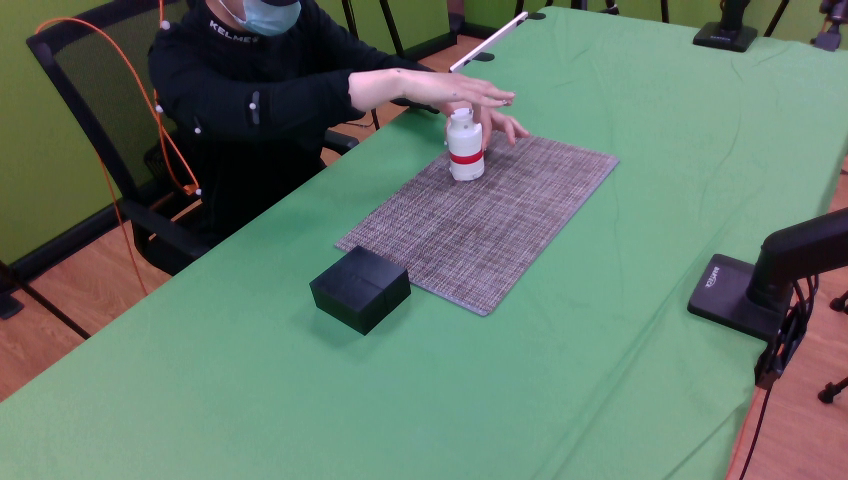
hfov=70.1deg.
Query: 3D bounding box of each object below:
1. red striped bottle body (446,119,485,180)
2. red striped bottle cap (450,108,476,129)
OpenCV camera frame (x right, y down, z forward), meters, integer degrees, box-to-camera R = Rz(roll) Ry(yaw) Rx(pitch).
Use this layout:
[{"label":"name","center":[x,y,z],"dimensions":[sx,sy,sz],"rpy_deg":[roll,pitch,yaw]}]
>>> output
[{"label":"red striped bottle body","center":[0.073,-0.171,1.074],"dimensions":[0.063,0.120,0.062],"rpy_deg":[-5,44,6]},{"label":"red striped bottle cap","center":[0.067,-0.209,1.038],"dimensions":[0.044,0.018,0.044],"rpy_deg":[-5,40,5]}]
